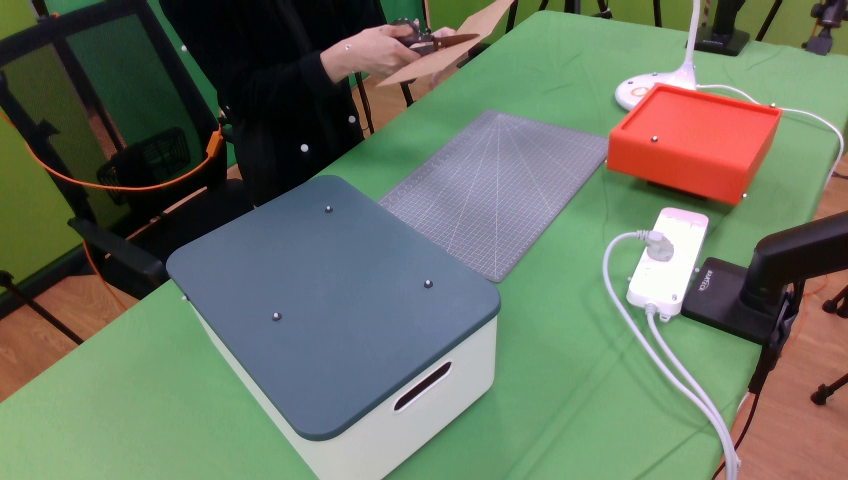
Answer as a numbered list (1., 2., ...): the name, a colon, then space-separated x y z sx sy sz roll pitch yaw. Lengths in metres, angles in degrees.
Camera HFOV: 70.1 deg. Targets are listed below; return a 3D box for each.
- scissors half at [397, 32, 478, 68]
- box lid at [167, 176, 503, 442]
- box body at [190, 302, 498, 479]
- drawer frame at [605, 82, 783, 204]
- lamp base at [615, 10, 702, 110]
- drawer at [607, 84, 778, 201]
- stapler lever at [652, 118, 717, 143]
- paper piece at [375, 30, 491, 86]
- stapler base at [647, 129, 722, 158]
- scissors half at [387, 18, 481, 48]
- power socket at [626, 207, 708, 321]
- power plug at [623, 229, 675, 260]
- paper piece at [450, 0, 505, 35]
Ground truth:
1. scissors half: 0.020 -0.300 0.960 0.174 0.040 0.013 -8 29 47
2. box lid: -0.119 0.047 0.714 0.264 0.015 0.368 -32 47 -27
3. box body: -0.110 0.103 0.761 0.255 0.161 0.361 -33 46 -27
4. drawer frame: 0.441 -0.167 0.995 0.212 0.083 0.202 23 48 30
5. lamp base: 0.484 -0.364 1.211 0.180 0.181 0.159 -15 41 -14
6. drawer: 0.439 -0.167 0.995 0.210 0.073 0.195 23 48 30
7. stapler lever: 0.436 -0.191 1.014 0.118 0.040 0.026 -16 25 -16
8. paper piece: 0.012 -0.267 0.892 0.134 0.004 0.136 1 36 45
9. stapler base: 0.439 -0.167 1.023 0.131 0.024 0.041 -16 25 -15
10. scissors half: 0.013 -0.319 0.948 0.174 0.040 0.013 21 52 26
11. power socket: 0.360 0.026 0.886 0.072 0.033 0.227 16 46 26
12. power plug: 0.327 0.007 0.878 0.072 0.053 0.035 25 51 33
13. paper piece: 0.080 -0.353 0.968 0.136 0.009 0.137 -42 19 -33
